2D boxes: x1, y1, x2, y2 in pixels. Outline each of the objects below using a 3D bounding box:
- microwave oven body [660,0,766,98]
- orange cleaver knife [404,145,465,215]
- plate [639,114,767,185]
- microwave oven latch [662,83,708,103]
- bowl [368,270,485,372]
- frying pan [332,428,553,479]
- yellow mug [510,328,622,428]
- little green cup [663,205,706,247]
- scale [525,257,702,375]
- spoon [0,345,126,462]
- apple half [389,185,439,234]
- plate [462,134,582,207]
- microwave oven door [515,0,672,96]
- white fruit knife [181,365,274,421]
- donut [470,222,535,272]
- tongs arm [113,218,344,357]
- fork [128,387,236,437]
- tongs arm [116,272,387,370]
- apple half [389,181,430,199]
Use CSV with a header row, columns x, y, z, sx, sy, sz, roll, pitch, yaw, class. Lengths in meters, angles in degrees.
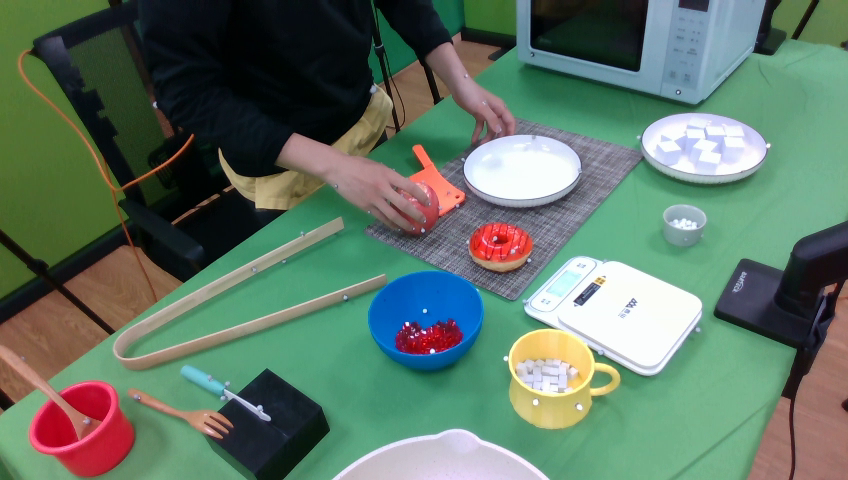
x,y,z,sx,sy,sz,roll,pitch,yaw,class
0.472,-0.513,1.317,0.438,0.261,0.327,26,51,34,microwave oven body
0.004,-0.112,1.103,0.077,0.012,0.209,-23,44,-11,orange cleaver knife
0.489,-0.157,1.074,0.207,0.039,0.206,-4,40,4,plate
0.517,-0.296,1.204,0.078,0.029,0.030,28,52,35,microwave oven latch
0.007,0.118,0.791,0.151,0.077,0.150,-5,40,4,bowl
-0.089,0.306,0.564,0.487,0.103,0.306,10,41,7,frying pan
0.168,0.164,0.722,0.130,0.064,0.099,0,40,8,yellow mug
0.396,-0.020,0.926,0.061,0.039,0.061,-4,40,4,little green cup
0.254,0.091,0.821,0.199,0.032,0.149,27,51,35,scale
-0.434,0.192,0.720,0.194,0.021,0.042,47,53,-7,spoon
-0.013,-0.042,0.965,0.081,0.075,0.053,-7,46,-7,apple half
0.173,-0.119,1.070,0.209,0.038,0.208,-4,40,4,plate
0.343,-0.455,1.259,0.353,0.245,0.039,26,51,33,microwave oven door
-0.245,0.187,0.747,0.205,0.027,0.016,9,41,40,white fruit knife
0.119,0.009,0.923,0.099,0.048,0.098,-4,38,3,donut
-0.280,0.067,0.927,0.386,0.026,0.050,-28,48,-23,tongs arm
-0.305,0.207,0.744,0.206,0.019,0.028,3,42,36,fork
-0.237,0.113,0.869,0.389,0.028,0.028,-18,48,-13,tongs arm
-0.021,-0.069,0.992,0.081,0.081,0.032,-10,47,-3,apple half
